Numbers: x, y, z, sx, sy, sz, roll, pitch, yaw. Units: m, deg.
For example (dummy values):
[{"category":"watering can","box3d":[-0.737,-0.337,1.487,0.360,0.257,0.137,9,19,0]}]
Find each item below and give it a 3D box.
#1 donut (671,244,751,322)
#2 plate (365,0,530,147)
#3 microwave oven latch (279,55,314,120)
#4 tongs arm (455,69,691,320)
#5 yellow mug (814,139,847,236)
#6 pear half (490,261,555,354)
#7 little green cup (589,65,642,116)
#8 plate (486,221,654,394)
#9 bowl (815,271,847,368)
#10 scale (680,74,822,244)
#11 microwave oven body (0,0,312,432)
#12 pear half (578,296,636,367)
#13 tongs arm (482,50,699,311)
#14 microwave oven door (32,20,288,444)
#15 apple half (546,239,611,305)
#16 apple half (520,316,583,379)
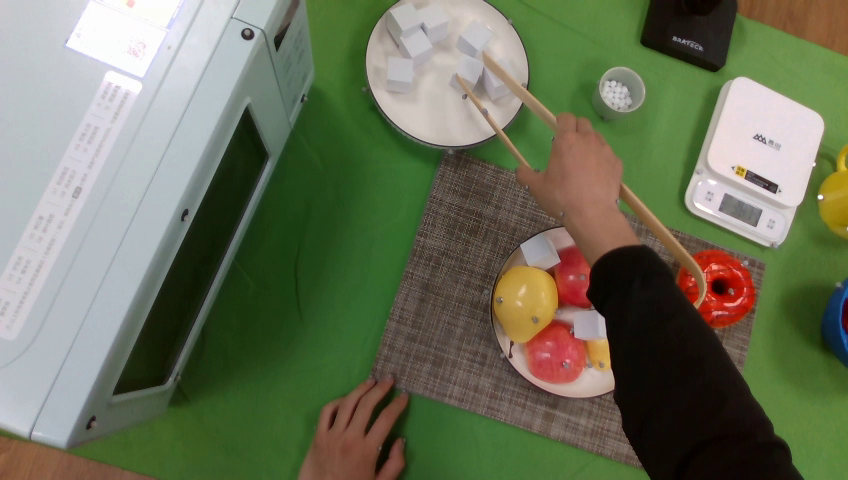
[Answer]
[{"category":"donut","box3d":[0.360,0.054,0.765,0.099,0.048,0.098,1,82,-5]},{"category":"plate","box3d":[0.029,-0.215,0.766,0.208,0.039,0.207,1,82,-8]},{"category":"microwave oven latch","box3d":[-0.157,-0.185,0.717,0.030,0.029,0.079,24,80,-4]},{"category":"tongs arm","box3d":[0.147,-0.068,0.662,0.051,0.027,0.381,-31,64,0]},{"category":"yellow mug","box3d":[0.584,-0.073,0.807,0.100,0.064,0.130,-13,83,-9]},{"category":"pear half","box3d":[0.116,0.081,0.709,0.076,0.056,0.109,14,84,-14]},{"category":"little green cup","box3d":[0.248,-0.193,0.792,0.062,0.038,0.061,1,81,-7]},{"category":"plate","box3d":[0.176,0.082,0.739,0.209,0.038,0.208,1,82,-8]},{"category":"bowl","box3d":[0.561,0.104,0.772,0.152,0.077,0.151,1,82,-7]},{"category":"scale","box3d":[0.438,-0.109,0.809,0.149,0.031,0.200,24,80,-3]},{"category":"microwave oven body","box3d":[-0.345,-0.093,0.580,0.326,0.260,0.440,22,80,-4]},{"category":"pear half","box3d":[0.223,0.110,0.735,0.070,0.031,0.087,20,76,9]},{"category":"tongs arm","box3d":[0.169,-0.083,0.662,0.028,0.028,0.384,-32,64,-4]},{"category":"microwave oven door","box3d":[-0.225,0.000,0.577,0.039,0.244,0.354,22,79,-4]},{"category":"apple half","box3d":[0.189,0.037,0.729,0.075,0.053,0.080,7,84,-3]},{"category":"apple half","box3d":[0.155,0.128,0.720,0.081,0.033,0.081,2,75,-9]}]
